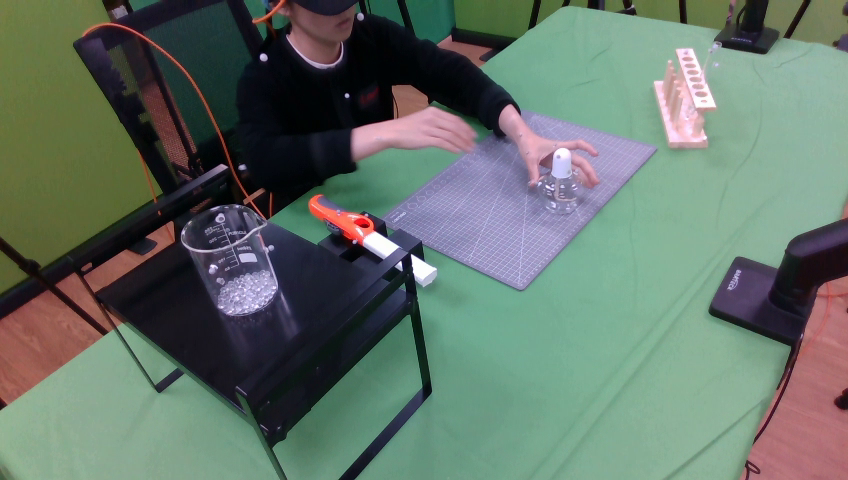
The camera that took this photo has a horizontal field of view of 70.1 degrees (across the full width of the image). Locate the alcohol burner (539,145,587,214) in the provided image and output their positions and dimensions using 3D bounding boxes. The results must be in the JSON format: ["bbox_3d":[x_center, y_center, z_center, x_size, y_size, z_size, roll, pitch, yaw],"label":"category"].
[{"bbox_3d":[0.226,-0.102,0.986,0.078,0.119,0.077,-6,41,5],"label":"alcohol burner"}]

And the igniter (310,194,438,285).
[{"bbox_3d":[-0.086,-0.007,0.921,0.274,0.025,0.057,31,51,34],"label":"igniter"}]

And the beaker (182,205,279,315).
[{"bbox_3d":[-0.197,0.024,0.641,0.084,0.101,0.073,-12,41,-6],"label":"beaker"}]

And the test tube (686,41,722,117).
[{"bbox_3d":[0.510,-0.290,1.105,0.017,0.150,0.017,2,44,-1],"label":"test tube"}]

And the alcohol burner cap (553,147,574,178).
[{"bbox_3d":[0.224,-0.125,0.965,0.034,0.048,0.033,-5,44,5],"label":"alcohol burner cap"}]

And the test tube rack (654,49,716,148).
[{"bbox_3d":[0.502,-0.281,1.176,0.066,0.085,0.241,1,41,11],"label":"test tube rack"}]
